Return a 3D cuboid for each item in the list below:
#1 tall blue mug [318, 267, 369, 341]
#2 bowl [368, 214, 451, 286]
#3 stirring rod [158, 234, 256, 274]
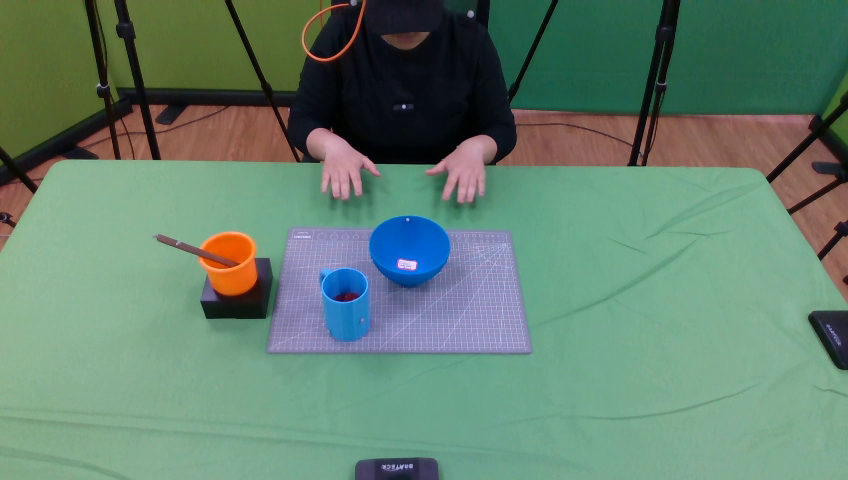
[{"bbox_3d":[-0.146,0.104,1.022,0.107,0.108,0.077,19,49,14],"label":"tall blue mug"},{"bbox_3d":[-0.028,0.031,1.122,0.151,0.077,0.150,2,46,-2],"label":"bowl"},{"bbox_3d":[-0.354,0.024,0.999,0.177,0.006,0.014,27,29,-40],"label":"stirring rod"}]
